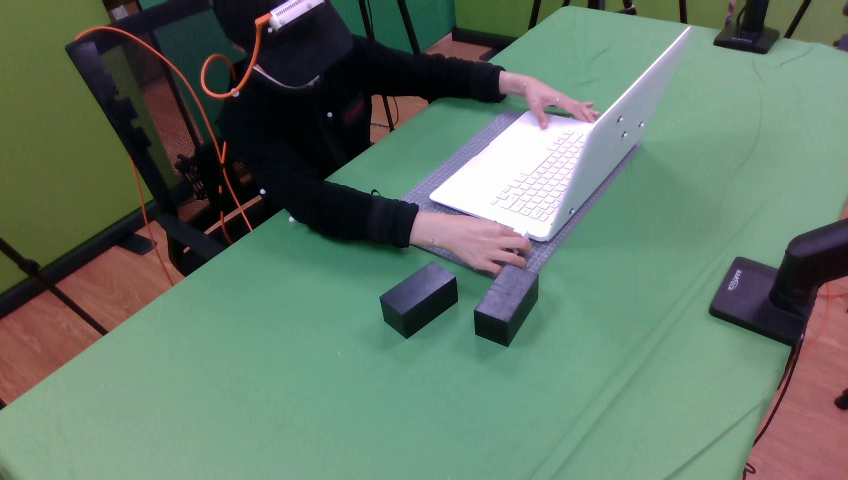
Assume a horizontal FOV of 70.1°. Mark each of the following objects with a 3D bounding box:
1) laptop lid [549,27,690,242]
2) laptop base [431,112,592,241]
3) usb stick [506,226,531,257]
[{"bbox_3d":[0.310,-0.168,0.950,0.013,0.242,0.358,33,52,20],"label":"laptop lid"},{"bbox_3d":[0.207,-0.129,1.100,0.233,0.023,0.355,20,47,33],"label":"laptop base"},{"bbox_3d":[0.150,-0.002,0.939,0.021,0.027,0.059,23,48,27],"label":"usb stick"}]
